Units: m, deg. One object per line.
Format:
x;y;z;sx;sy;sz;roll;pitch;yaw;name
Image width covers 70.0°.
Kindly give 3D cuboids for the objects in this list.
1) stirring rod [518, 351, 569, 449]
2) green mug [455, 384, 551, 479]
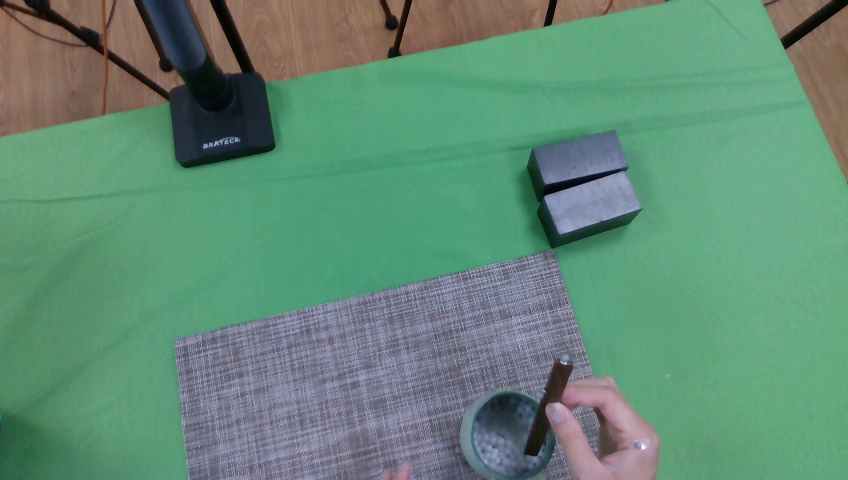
0.094;0.136;0.493;0.014;0.177;0.005;7;51;5;stirring rod
0.087;0.202;0.600;0.092;0.105;0.124;-30;74;-9;green mug
